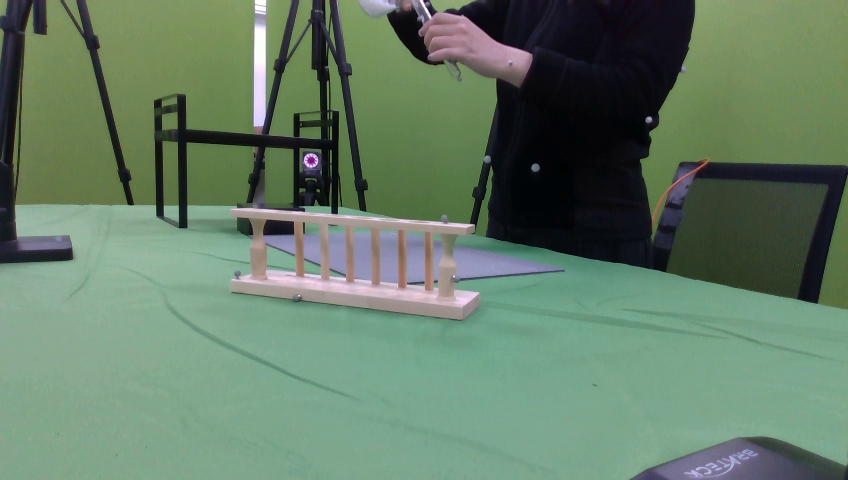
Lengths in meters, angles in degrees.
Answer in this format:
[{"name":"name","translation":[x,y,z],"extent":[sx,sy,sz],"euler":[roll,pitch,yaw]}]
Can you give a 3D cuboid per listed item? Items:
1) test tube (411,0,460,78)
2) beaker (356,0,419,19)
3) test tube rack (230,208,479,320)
[{"name":"test tube","translation":[0.018,-0.305,0.910],"extent":[0.017,0.150,0.017],"euler":[-24,-16,-7]},{"name":"beaker","translation":[-0.054,-0.399,0.961],"extent":[0.100,0.084,0.074],"euler":[-11,-6,37]},{"name":"test tube rack","translation":[-0.069,0.017,0.598],"extent":[0.242,0.085,0.067],"euler":[5,8,18]}]
